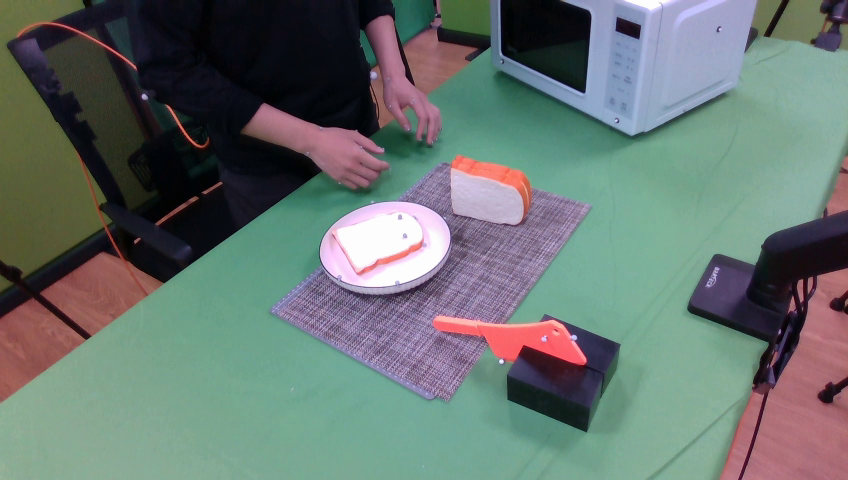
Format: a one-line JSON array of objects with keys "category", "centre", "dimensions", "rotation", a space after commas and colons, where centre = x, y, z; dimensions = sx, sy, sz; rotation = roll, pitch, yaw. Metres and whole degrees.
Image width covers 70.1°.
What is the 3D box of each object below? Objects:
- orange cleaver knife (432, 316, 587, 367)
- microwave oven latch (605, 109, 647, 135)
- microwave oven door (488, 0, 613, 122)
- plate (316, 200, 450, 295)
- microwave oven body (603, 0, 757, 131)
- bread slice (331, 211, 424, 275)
[{"category": "orange cleaver knife", "centre": [0.101, 0.127, 0.761], "dimensions": [0.210, 0.077, 0.012], "rotation": [-1, 34, 40]}, {"category": "microwave oven latch", "centre": [0.379, -0.225, 1.139], "dimensions": [0.030, 0.029, 0.078], "rotation": [-26, 43, -19]}, {"category": "microwave oven door", "centre": [0.251, -0.412, 1.219], "dimensions": [0.039, 0.245, 0.352], "rotation": [-27, 44, -21]}, {"category": "plate", "centre": [-0.062, 0.015, 0.944], "dimensions": [0.207, 0.039, 0.206], "rotation": [-4, 41, 4]}, {"category": "microwave oven body", "centre": [0.396, -0.448, 1.248], "dimensions": [0.327, 0.261, 0.437], "rotation": [-27, 44, -21]}, {"category": "bread slice", "centre": [-0.069, -0.002, 0.960], "dimensions": [0.135, 0.018, 0.106], "rotation": [-22, 46, -21]}]
